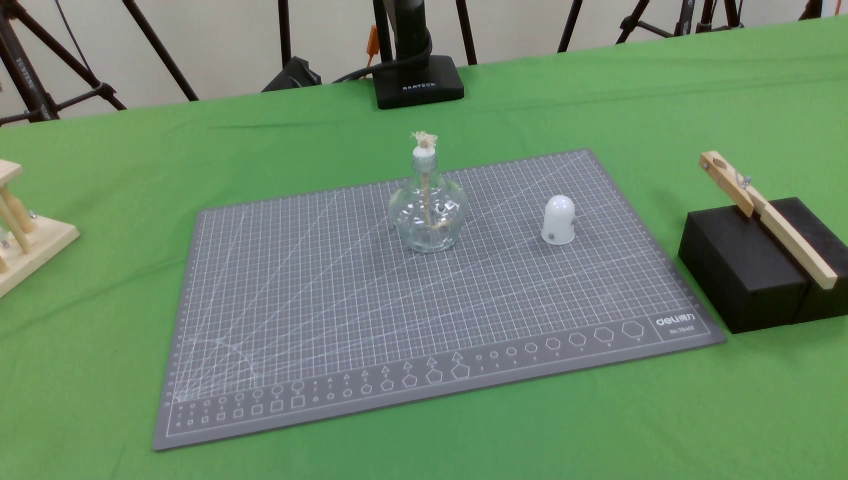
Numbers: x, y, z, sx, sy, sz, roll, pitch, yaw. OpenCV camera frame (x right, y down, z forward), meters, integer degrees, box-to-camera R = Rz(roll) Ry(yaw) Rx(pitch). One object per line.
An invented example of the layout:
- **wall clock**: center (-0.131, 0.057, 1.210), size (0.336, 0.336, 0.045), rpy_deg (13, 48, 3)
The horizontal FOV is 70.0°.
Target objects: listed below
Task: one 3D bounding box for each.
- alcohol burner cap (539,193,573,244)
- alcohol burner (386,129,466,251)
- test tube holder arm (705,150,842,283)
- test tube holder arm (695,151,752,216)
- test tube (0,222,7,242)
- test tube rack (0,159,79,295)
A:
- **alcohol burner cap**: center (0.128, -0.023, 0.581), size (0.034, 0.048, 0.033), rpy_deg (-3, 40, 3)
- **alcohol burner**: center (0.000, -0.050, 0.570), size (0.078, 0.120, 0.077), rpy_deg (-4, 39, 3)
- **test tube holder arm**: center (0.290, -0.027, 0.518), size (0.013, 0.015, 0.176), rpy_deg (-21, 41, -1)
- **test tube holder arm**: center (0.274, -0.053, 0.551), size (0.010, 0.015, 0.087), rpy_deg (-20, 41, 1)
- **test tube**: center (-0.444, -0.060, 0.578), size (0.017, 0.151, 0.017), rpy_deg (-6, 36, 5)
- **test tube rack**: center (-0.452, 0.029, 0.555), size (0.066, 0.086, 0.241), rpy_deg (14, 44, 20)
